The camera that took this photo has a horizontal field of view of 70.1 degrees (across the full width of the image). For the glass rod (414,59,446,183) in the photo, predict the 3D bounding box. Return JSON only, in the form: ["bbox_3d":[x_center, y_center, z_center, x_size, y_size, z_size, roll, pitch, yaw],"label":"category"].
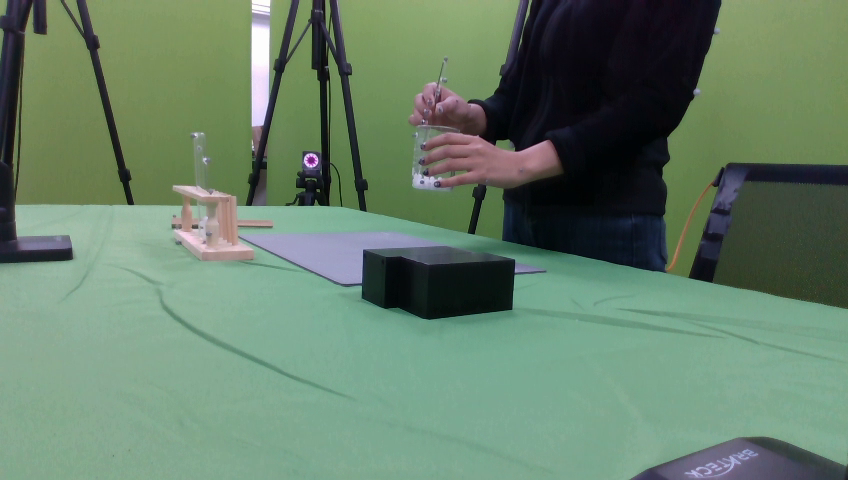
[{"bbox_3d":[0.011,-0.188,0.958,0.008,0.199,0.008,13,5,-1],"label":"glass rod"}]

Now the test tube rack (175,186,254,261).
[{"bbox_3d":[-0.314,-0.031,0.889,0.067,0.085,0.241,-2,8,-30],"label":"test tube rack"}]

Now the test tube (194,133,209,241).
[{"bbox_3d":[-0.307,-0.074,0.842,0.017,0.150,0.017,-3,2,0],"label":"test tube"}]

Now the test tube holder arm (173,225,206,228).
[{"bbox_3d":[-0.415,-0.030,1.113,0.088,0.015,0.010,-1,-22,-25],"label":"test tube holder arm"}]

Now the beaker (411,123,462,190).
[{"bbox_3d":[0.017,-0.133,0.973,0.074,0.100,0.084,4,4,-13],"label":"beaker"}]

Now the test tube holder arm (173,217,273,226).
[{"bbox_3d":[-0.371,-0.033,1.128,0.179,0.015,0.013,-1,-22,-26],"label":"test tube holder arm"}]
